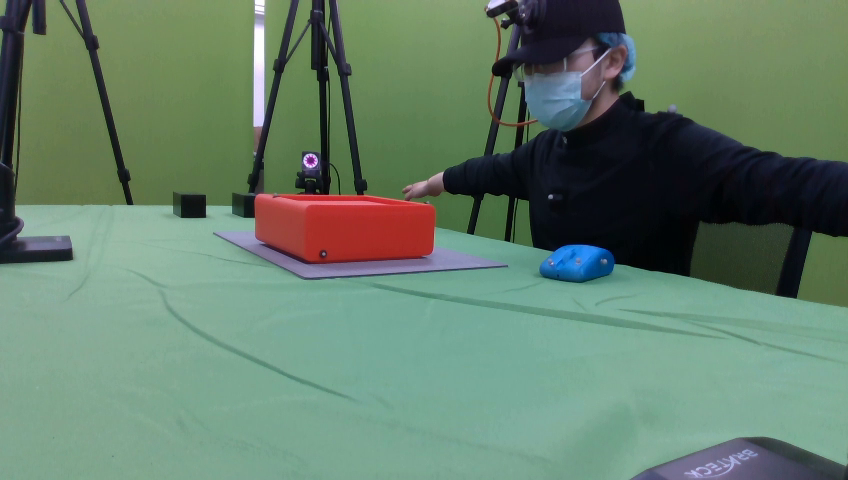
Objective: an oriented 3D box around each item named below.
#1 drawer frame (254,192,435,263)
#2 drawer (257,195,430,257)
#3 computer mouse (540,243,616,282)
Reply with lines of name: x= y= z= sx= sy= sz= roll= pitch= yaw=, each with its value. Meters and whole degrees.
drawer frame: x=-0.124 y=-0.026 z=0.904 sx=0.203 sy=0.082 sz=0.212 roll=-2 pitch=9 yaw=-33
drawer: x=-0.125 y=-0.025 z=0.907 sx=0.195 sy=0.073 sz=0.210 roll=-1 pitch=9 yaw=-32
computer mouse: x=0.204 y=0.028 z=0.797 sx=0.062 sy=0.041 sz=0.118 roll=11 pitch=15 yaw=38
